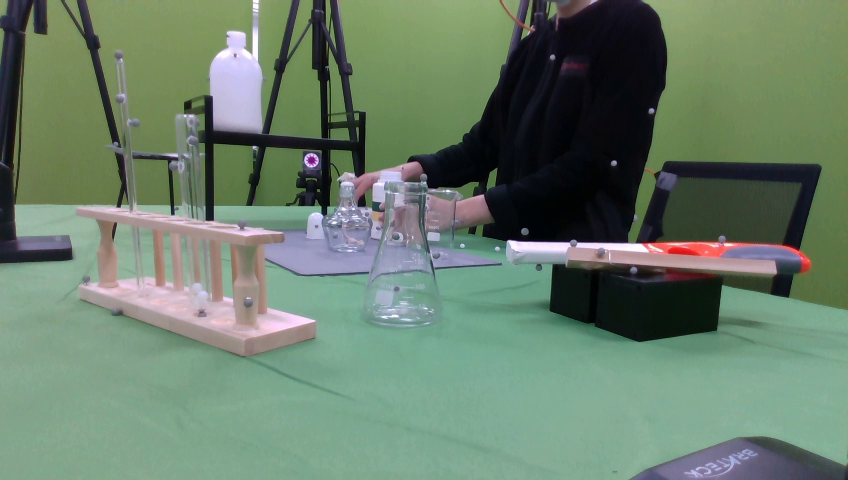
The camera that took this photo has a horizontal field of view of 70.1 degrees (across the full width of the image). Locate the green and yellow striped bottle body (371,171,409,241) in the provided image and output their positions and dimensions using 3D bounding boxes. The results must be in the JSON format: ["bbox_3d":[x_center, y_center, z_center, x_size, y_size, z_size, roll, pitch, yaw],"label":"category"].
[{"bbox_3d":[-0.059,-0.061,1.059,0.063,0.119,0.063,3,7,0],"label":"green and yellow striped bottle body"}]

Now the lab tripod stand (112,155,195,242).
[{"bbox_3d":[-0.405,-0.064,0.931,0.148,0.131,0.148,1,6,0],"label":"lab tripod stand"}]

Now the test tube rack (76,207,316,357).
[{"bbox_3d":[-0.196,0.023,0.500,0.241,0.085,0.067,8,9,36],"label":"test tube rack"}]

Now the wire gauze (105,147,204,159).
[{"bbox_3d":[-0.407,-0.131,0.928,0.125,0.011,0.121,2,6,-11],"label":"wire gauze"}]

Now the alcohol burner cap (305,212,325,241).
[{"bbox_3d":[-0.185,-0.023,1.027,0.034,0.048,0.034,2,7,0],"label":"alcohol burner cap"}]

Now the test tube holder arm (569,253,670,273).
[{"bbox_3d":[0.172,0.019,0.532,0.088,0.015,0.010,3,-23,3],"label":"test tube holder arm"}]

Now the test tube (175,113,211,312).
[{"bbox_3d":[-0.174,-0.020,0.458,0.017,0.150,0.017,-3,5,1],"label":"test tube"}]

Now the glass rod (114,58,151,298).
[{"bbox_3d":[-0.236,-0.044,0.492,0.008,0.199,0.008,0,15,0],"label":"glass rod"}]

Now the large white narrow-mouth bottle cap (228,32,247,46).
[{"bbox_3d":[-0.364,-0.391,1.180,0.038,0.024,0.037,3,8,0],"label":"large white narrow-mouth bottle cap"}]

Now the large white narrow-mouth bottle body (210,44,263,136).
[{"bbox_3d":[-0.369,-0.305,1.194,0.102,0.194,0.102,3,8,0],"label":"large white narrow-mouth bottle body"}]

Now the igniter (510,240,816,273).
[{"bbox_3d":[0.220,0.015,0.565,0.277,0.025,0.057,2,16,0],"label":"igniter"}]

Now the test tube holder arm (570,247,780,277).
[{"bbox_3d":[0.217,0.019,0.525,0.178,0.015,0.013,3,-23,3],"label":"test tube holder arm"}]

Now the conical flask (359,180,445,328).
[{"bbox_3d":[-0.017,0.010,0.522,0.075,0.122,0.075,2,7,0],"label":"conical flask"}]

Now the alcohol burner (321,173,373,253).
[{"bbox_3d":[-0.115,-0.041,0.905,0.078,0.119,0.078,1,6,0],"label":"alcohol burner"}]

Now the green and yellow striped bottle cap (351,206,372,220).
[{"bbox_3d":[-0.115,-0.052,1.133,0.045,0.020,0.045,2,13,0],"label":"green and yellow striped bottle cap"}]

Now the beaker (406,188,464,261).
[{"bbox_3d":[0.014,-0.023,0.870,0.084,0.100,0.074,3,8,-4],"label":"beaker"}]
